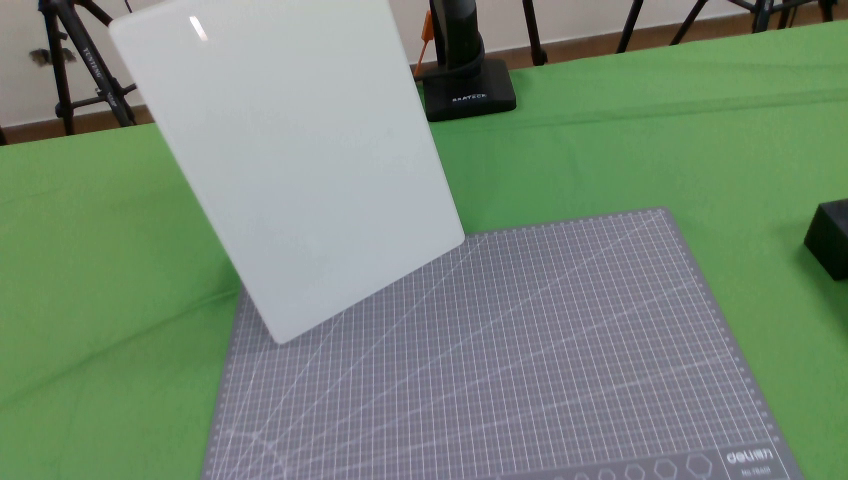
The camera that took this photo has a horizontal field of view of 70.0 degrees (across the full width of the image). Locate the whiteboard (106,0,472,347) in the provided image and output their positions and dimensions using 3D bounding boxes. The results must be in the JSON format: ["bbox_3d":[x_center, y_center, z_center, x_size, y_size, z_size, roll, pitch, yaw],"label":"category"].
[{"bbox_3d":[-0.117,-0.097,0.585,0.217,0.308,0.142,-28,27,-16],"label":"whiteboard"}]
